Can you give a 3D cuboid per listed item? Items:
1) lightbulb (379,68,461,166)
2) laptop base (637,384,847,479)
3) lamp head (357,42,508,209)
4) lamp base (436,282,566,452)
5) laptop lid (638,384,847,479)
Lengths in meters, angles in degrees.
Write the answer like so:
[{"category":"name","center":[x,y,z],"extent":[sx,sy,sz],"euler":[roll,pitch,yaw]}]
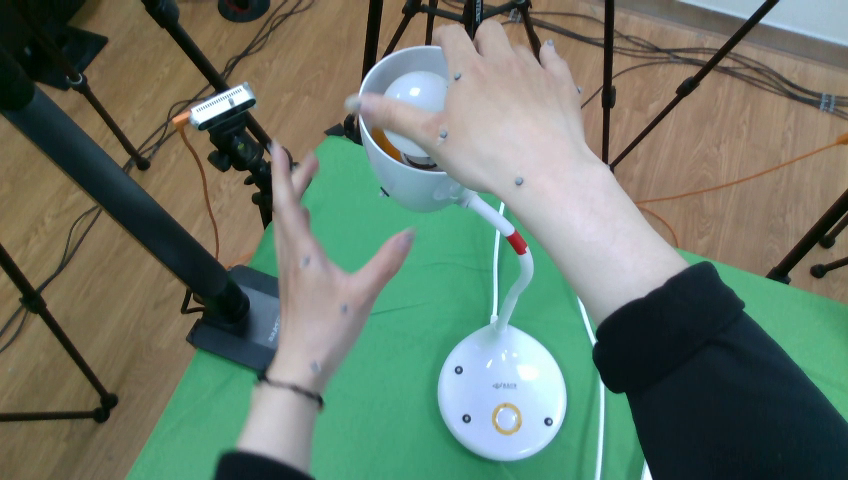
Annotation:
[{"category":"lightbulb","center":[-0.001,-0.085,0.459],"extent":[0.059,0.108,0.059],"euler":[-1,71,2]},{"category":"laptop base","center":[0.416,0.330,0.689],"extent":[0.353,0.023,0.234],"euler":[18,67,8]},{"category":"lamp head","center":[0.005,-0.075,0.487],"extent":[0.112,0.124,0.111],"euler":[1,64,-1]},{"category":"lamp base","center":[0.093,0.135,0.690],"extent":[0.161,0.181,0.177],"euler":[-9,61,-5]},{"category":"laptop lid","center":[0.415,0.327,0.678],"extent":[0.356,0.013,0.240],"euler":[20,66,9]}]
